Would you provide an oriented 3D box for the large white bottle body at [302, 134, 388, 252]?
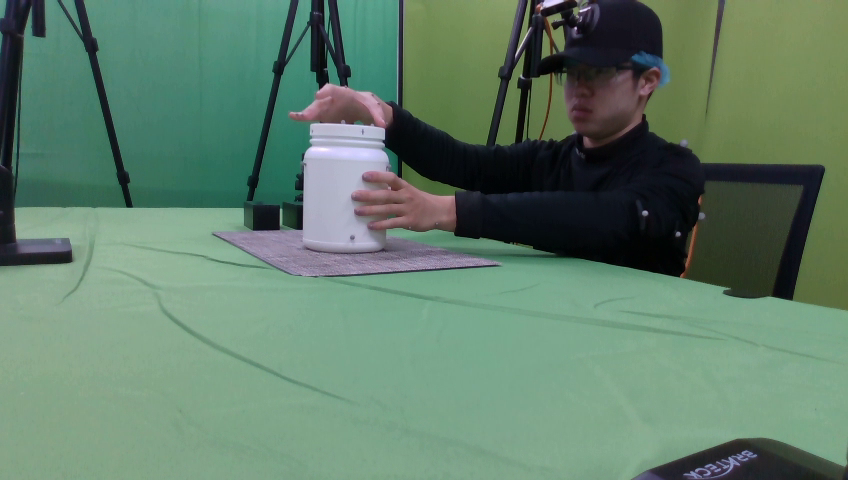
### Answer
[{"bbox_3d":[-0.121,-0.080,0.937,0.131,0.184,0.130,2,7,0],"label":"large white bottle body"}]

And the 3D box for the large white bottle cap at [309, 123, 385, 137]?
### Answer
[{"bbox_3d":[-0.118,-0.167,0.926,0.115,0.018,0.115,2,8,0],"label":"large white bottle cap"}]
